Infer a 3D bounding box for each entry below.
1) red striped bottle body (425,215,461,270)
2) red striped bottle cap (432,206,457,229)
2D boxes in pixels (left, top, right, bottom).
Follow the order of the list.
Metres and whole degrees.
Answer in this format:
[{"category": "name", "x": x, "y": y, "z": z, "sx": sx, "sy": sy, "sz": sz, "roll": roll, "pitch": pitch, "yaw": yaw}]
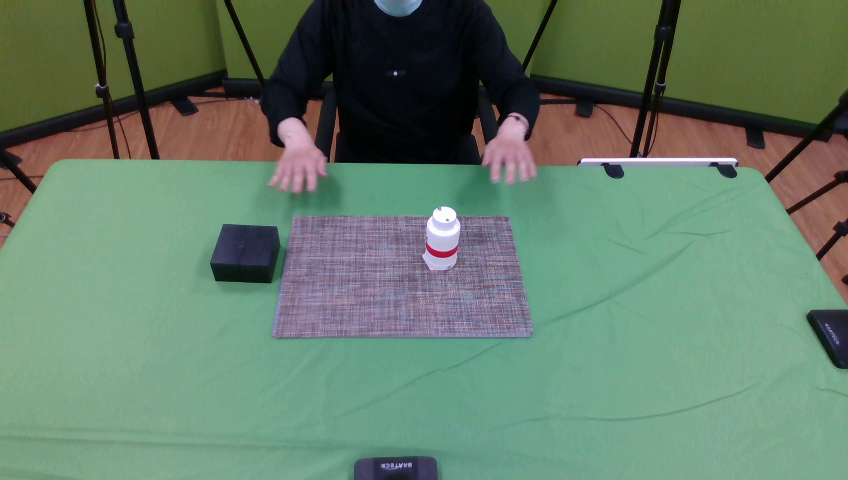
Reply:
[{"category": "red striped bottle body", "x": 0.035, "y": -0.004, "z": 1.128, "sx": 0.063, "sy": 0.120, "sz": 0.062, "roll": 1, "pitch": 46, "yaw": -1}, {"category": "red striped bottle cap", "x": 0.037, "y": -0.041, "z": 1.090, "sx": 0.044, "sy": 0.018, "sz": 0.044, "roll": 0, "pitch": 47, "yaw": 1}]
